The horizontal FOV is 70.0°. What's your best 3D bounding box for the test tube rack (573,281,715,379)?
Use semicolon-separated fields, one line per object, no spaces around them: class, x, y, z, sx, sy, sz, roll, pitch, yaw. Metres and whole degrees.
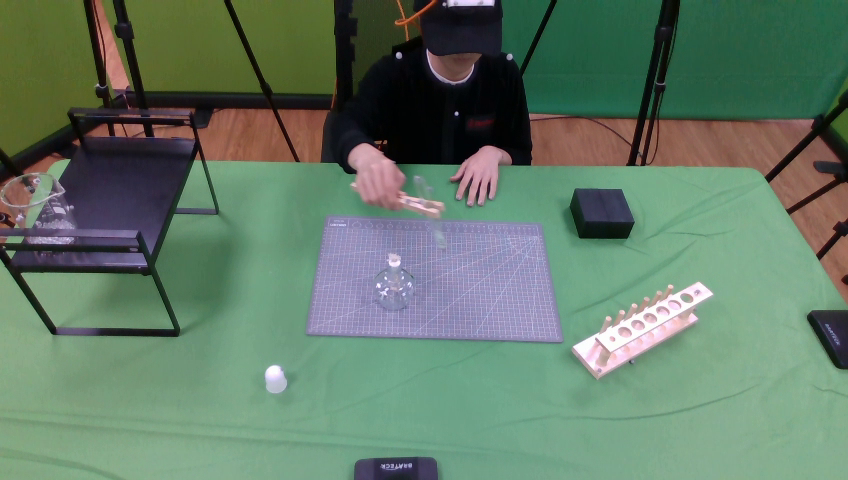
test tube rack;0.378;0.140;1.038;0.242;0.085;0.066;-22;51;-23

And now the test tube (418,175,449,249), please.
test tube;0.016;-0.040;0.939;0.017;0.151;0.017;-11;43;10

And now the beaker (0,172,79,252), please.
beaker;-0.557;-0.038;0.889;0.084;0.101;0.073;-3;46;-7

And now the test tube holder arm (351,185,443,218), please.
test tube holder arm;-0.046;-0.063;0.961;0.177;0.015;0.013;16;48;30

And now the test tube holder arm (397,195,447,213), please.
test tube holder arm;-0.005;-0.057;0.943;0.087;0.015;0.010;11;46;26

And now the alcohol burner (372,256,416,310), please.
alcohol burner;-0.052;0.068;1.057;0.078;0.120;0.077;1;48;-1

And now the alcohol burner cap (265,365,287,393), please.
alcohol burner cap;-0.236;0.216;0.956;0.034;0.048;0.033;3;45;-3
